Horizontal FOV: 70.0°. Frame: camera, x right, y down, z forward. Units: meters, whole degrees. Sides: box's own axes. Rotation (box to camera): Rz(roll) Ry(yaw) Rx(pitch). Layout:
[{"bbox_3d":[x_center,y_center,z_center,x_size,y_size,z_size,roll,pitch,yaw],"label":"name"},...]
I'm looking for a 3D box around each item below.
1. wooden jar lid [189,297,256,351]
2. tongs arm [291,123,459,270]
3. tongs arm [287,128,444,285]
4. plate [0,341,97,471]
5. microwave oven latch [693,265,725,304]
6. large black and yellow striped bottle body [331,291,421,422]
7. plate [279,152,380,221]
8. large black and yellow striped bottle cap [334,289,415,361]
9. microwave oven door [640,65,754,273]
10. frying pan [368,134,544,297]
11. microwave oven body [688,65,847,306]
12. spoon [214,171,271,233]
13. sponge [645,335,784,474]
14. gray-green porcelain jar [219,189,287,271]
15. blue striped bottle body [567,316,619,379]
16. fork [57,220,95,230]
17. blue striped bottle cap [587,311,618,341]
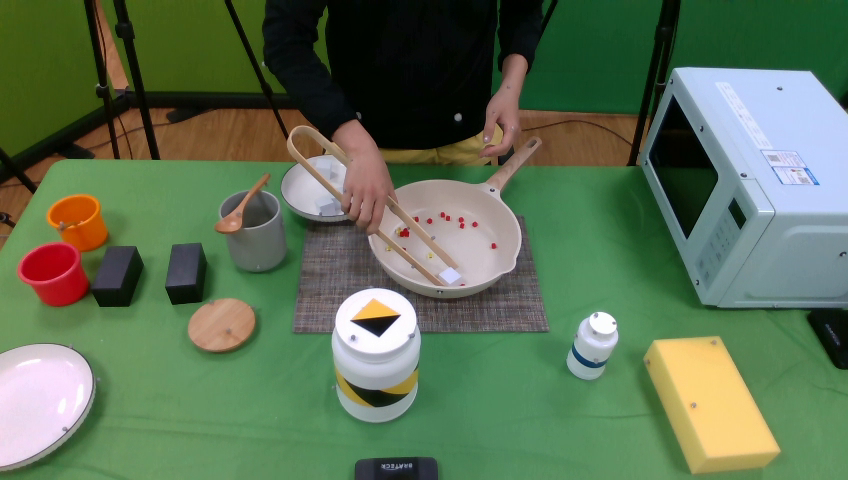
[{"bbox_3d":[-0.342,0.145,1.033,0.108,0.021,0.107,2,45,-2],"label":"wooden jar lid"},{"bbox_3d":[-0.087,-0.072,1.094,0.385,0.026,0.050,46,61,-5],"label":"tongs arm"},{"bbox_3d":[-0.105,-0.050,1.078,0.388,0.028,0.028,44,64,-6],"label":"tongs arm"},{"bbox_3d":[-0.599,0.247,0.904,0.209,0.038,0.208,2,47,-2],"label":"plate"},{"bbox_3d":[0.523,0.081,1.116,0.030,0.029,0.078,2,46,-1],"label":"microwave oven latch"},{"bbox_3d":[-0.071,0.175,0.911,0.131,0.185,0.130,2,47,-2],"label":"large black and yellow striped bottle body"},{"bbox_3d":[-0.196,-0.107,1.269,0.208,0.039,0.206,2,45,-2],"label":"plate"},{"bbox_3d":[-0.069,0.117,0.850,0.115,0.019,0.114,2,45,-2],"label":"large black and yellow striped bottle cap"},{"bbox_3d":[0.522,-0.147,1.193,0.039,0.245,0.353,0,47,-3],"label":"microwave oven door"},{"bbox_3d":[0.104,-0.069,1.205,0.305,0.103,0.487,33,61,23],"label":"frying pan"},{"bbox_3d":[0.669,-0.111,1.176,0.326,0.261,0.439,0,46,-3],"label":"microwave oven body"},{"bbox_3d":[-0.312,-0.070,1.070,0.041,0.022,0.193,10,43,9],"label":"spoon"},{"bbox_3d":[0.449,0.253,0.956,0.118,0.061,0.205,-4,46,-7],"label":"sponge"},{"bbox_3d":[-0.310,-0.014,1.113,0.106,0.127,0.105,2,46,-2],"label":"gray-green porcelain jar"},{"bbox_3d":[0.276,0.168,0.984,0.063,0.121,0.062,2,46,-2],"label":"blue striped bottle body"},{"bbox_3d":[-0.624,-0.027,1.086,0.028,0.207,0.018,-3,92,-17],"label":"fork"},{"bbox_3d":[0.279,0.134,0.946,0.044,0.021,0.044,2,45,-2],"label":"blue striped bottle cap"}]
